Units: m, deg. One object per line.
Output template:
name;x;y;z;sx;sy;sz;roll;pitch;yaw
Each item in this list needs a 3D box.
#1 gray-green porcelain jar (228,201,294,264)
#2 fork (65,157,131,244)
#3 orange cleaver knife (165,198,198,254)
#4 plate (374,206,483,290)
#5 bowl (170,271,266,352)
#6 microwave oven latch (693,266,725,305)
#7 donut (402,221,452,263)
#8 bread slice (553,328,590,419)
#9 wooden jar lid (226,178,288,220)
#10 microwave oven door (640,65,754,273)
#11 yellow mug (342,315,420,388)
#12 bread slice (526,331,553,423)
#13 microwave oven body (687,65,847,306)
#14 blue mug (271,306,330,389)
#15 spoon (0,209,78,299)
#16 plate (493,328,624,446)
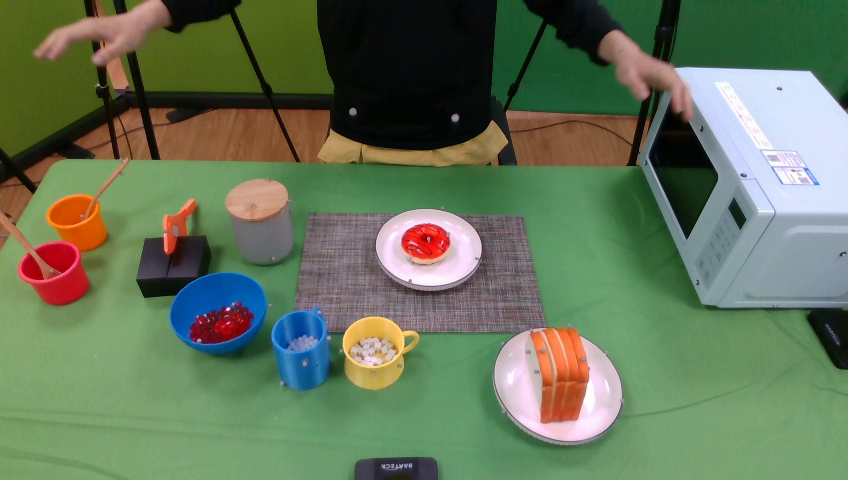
gray-green porcelain jar;-0.299;-0.027;1.126;0.106;0.127;0.105;2;46;-2
fork;-0.609;-0.074;1.132;0.207;0.019;0.028;-52;48;10
orange cleaver knife;-0.458;-0.031;1.149;0.012;0.077;0.210;-2;17;-6
plate;0.009;0.018;1.161;0.209;0.038;0.208;2;47;-2
bowl;-0.333;0.132;1.006;0.151;0.077;0.150;2;46;-2
microwave oven latch;0.523;0.082;1.115;0.030;0.029;0.078;2;46;-1
donut;0.006;0.002;1.160;0.099;0.048;0.098;1;44;-1
bread slice;0.226;0.201;0.932;0.018;0.135;0.106;-4;51;-4
wooden jar lid;-0.296;-0.070;1.081;0.108;0.021;0.107;1;45;-1
microwave oven door;0.522;-0.147;1.193;0.039;0.245;0.353;0;47;-3
yellow mug;-0.068;0.177;0.991;0.131;0.064;0.099;-15;50;-19
bread slice;0.176;0.202;0.929;0.019;0.132;0.104;-9;45;-1
microwave oven body;0.669;-0.111;1.176;0.326;0.261;0.439;0;46;-3
blue mug;-0.188;0.163;0.969;0.082;0.106;0.116;15;47;10
spoon;-0.668;0.022;1.040;0.041;0.021;0.194;-41;105;-29
plate;0.213;0.236;0.974;0.208;0.039;0.206;2;46;-2
